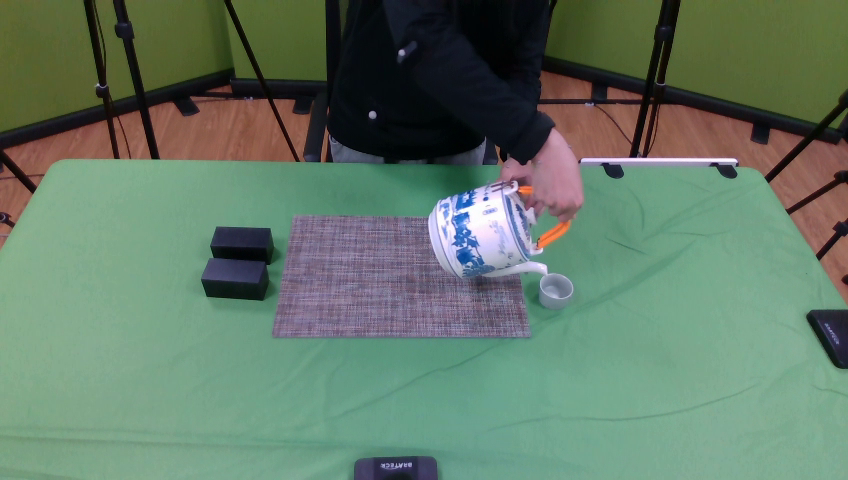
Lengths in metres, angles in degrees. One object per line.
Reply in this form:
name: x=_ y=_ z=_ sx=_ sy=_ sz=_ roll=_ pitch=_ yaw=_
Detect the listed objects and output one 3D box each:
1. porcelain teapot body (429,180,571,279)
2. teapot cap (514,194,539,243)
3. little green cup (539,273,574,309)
porcelain teapot body: x=0.144 y=-0.005 z=1.039 sx=0.225 sy=0.206 sz=0.144 roll=-16 pitch=36 yaw=18
teapot cap: x=0.168 y=-0.036 z=1.008 sx=0.044 sy=0.085 sz=0.084 roll=-13 pitch=43 yaw=17
little green cup: x=0.240 y=0.096 z=1.113 sx=0.061 sy=0.039 sz=0.061 roll=2 pitch=47 yaw=-2
